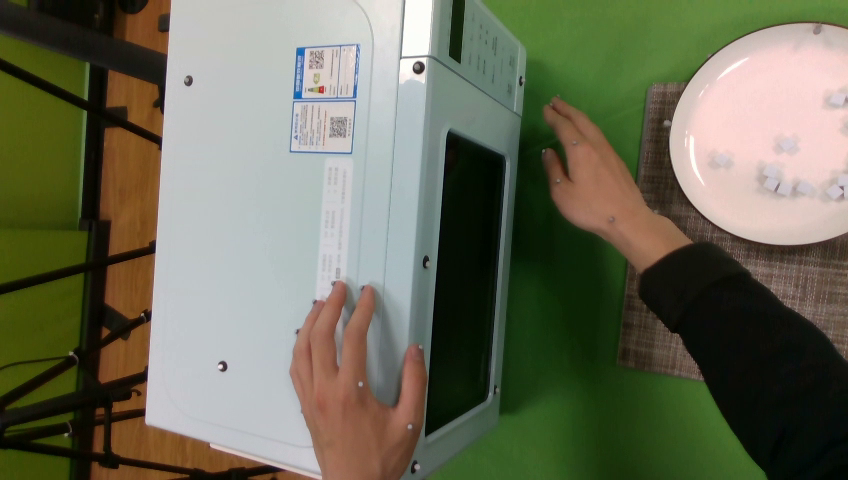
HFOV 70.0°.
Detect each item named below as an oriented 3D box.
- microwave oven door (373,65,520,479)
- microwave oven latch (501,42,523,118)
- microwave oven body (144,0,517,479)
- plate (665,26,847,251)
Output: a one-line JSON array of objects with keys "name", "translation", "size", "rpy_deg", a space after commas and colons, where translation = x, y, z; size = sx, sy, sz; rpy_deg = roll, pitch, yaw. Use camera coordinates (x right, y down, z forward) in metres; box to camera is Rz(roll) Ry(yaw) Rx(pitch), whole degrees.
[{"name": "microwave oven door", "translation": [0.031, 0.037, 0.595], "size": [0.039, 0.245, 0.355], "rpy_deg": [5, 91, 27]}, {"name": "microwave oven latch", "translation": [0.094, -0.178, 0.680], "size": [0.030, 0.029, 0.079], "rpy_deg": [5, 92, 26]}, {"name": "microwave oven body", "translation": [-0.094, -0.015, 0.663], "size": [0.324, 0.261, 0.441], "rpy_deg": [5, 92, 26]}, {"name": "plate", "translation": [0.340, -0.092, 0.573], "size": [0.208, 0.038, 0.209], "rpy_deg": [-1, 89, 26]}]
